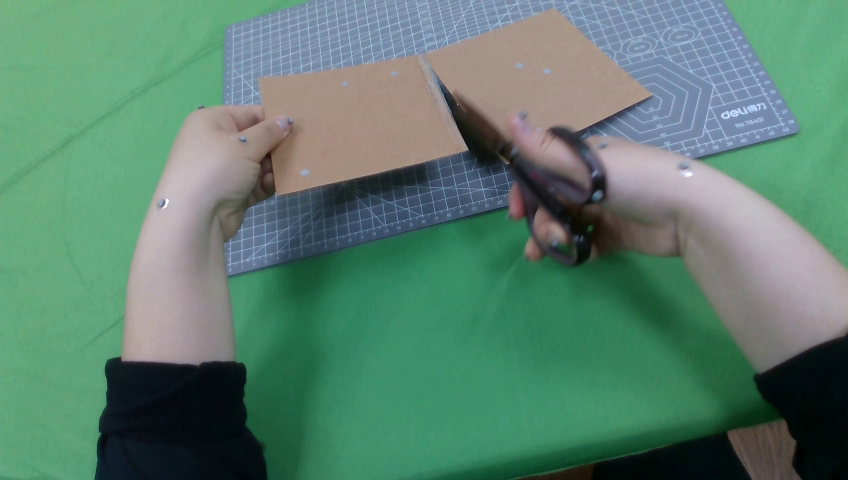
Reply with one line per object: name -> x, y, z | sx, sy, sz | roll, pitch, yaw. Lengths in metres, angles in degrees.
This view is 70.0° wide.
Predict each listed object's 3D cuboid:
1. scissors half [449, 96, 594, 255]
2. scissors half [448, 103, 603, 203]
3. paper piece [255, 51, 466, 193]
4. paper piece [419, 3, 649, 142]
scissors half -> 0.057, -0.051, 0.407 | 0.013, 0.040, 0.173 | -19, 52, -17
scissors half -> 0.057, -0.068, 0.393 | 0.013, 0.040, 0.173 | -15, 29, -21
paper piece -> -0.054, -0.095, 0.453 | 0.138, 0.009, 0.134 | -14, 46, -6
paper piece -> 0.085, -0.136, 0.490 | 0.135, 0.004, 0.134 | -25, 59, -14
